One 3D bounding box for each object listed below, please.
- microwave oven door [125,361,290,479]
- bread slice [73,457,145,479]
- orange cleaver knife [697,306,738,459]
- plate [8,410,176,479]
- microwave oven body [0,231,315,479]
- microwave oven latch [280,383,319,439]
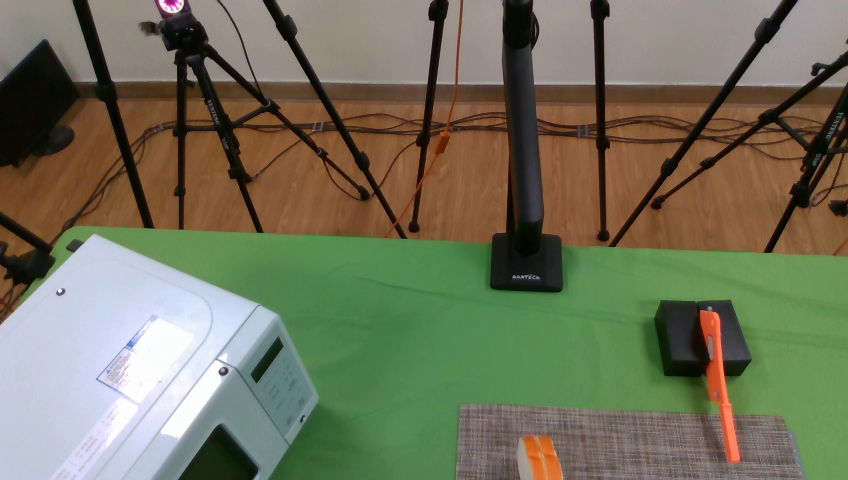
[{"bbox_3d":[-0.289,0.332,0.664,0.039,0.246,0.354,19,56,19],"label":"microwave oven door"},{"bbox_3d":[-0.412,0.343,0.750,0.134,0.018,0.106,-15,51,-20],"label":"bread slice"},{"bbox_3d":[0.403,0.191,0.839,0.012,0.077,0.210,-3,73,6],"label":"orange cleaver knife"},{"bbox_3d":[-0.416,0.319,0.761,0.208,0.039,0.205,0,50,0],"label":"plate"},{"bbox_3d":[-0.399,0.260,0.736,0.324,0.262,0.439,20,57,19],"label":"microwave oven body"},{"bbox_3d":[-0.180,0.238,0.858,0.030,0.030,0.079,21,57,19],"label":"microwave oven latch"}]
